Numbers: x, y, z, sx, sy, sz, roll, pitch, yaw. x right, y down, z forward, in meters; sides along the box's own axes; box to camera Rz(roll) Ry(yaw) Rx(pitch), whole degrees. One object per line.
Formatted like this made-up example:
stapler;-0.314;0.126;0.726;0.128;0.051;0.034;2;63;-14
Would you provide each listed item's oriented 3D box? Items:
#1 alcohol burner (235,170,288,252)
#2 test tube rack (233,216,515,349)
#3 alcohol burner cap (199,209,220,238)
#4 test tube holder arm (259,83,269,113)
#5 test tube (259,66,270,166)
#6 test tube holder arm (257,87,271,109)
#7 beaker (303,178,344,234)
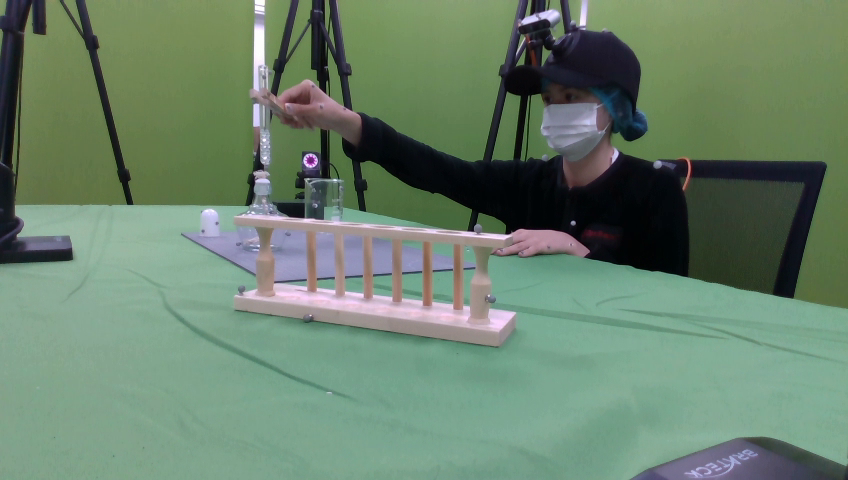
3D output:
alcohol burner;-0.236;-0.042;0.882;0.078;0.119;0.078;2;9;0
test tube rack;-0.045;0.029;0.526;0.241;0.085;0.067;5;7;19
alcohol burner cap;-0.356;-0.027;1.002;0.034;0.048;0.034;2;7;0
test tube holder arm;-0.242;-0.213;0.914;0.015;0.010;0.087;9;-13;-14
test tube;-0.234;-0.182;0.887;0.017;0.150;0.017;-3;-8;0
test tube holder arm;-0.251;-0.227;0.956;0.015;0.013;0.178;7;22;-14
beaker;-0.189;-0.063;1.119;0.073;0.100;0.084;7;9;28
